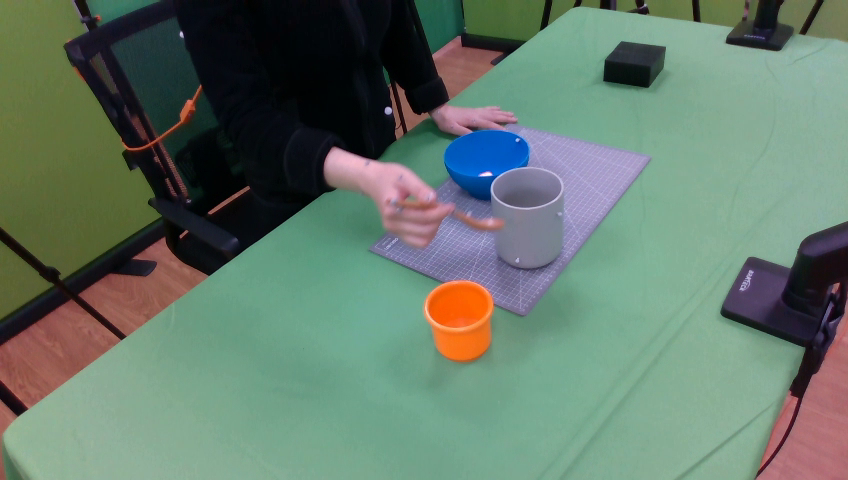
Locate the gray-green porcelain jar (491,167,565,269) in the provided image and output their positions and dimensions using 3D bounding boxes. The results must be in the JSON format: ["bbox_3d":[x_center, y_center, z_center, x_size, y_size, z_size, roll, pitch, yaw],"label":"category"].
[{"bbox_3d":[0.157,-0.029,0.904,0.106,0.127,0.105,-6,40,5],"label":"gray-green porcelain jar"}]

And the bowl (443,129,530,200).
[{"bbox_3d":[0.113,-0.123,1.063,0.151,0.077,0.150,-6,40,5],"label":"bowl"}]

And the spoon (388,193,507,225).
[{"bbox_3d":[0.032,-0.039,0.726,0.195,0.021,0.041,13,0,-43],"label":"spoon"}]
